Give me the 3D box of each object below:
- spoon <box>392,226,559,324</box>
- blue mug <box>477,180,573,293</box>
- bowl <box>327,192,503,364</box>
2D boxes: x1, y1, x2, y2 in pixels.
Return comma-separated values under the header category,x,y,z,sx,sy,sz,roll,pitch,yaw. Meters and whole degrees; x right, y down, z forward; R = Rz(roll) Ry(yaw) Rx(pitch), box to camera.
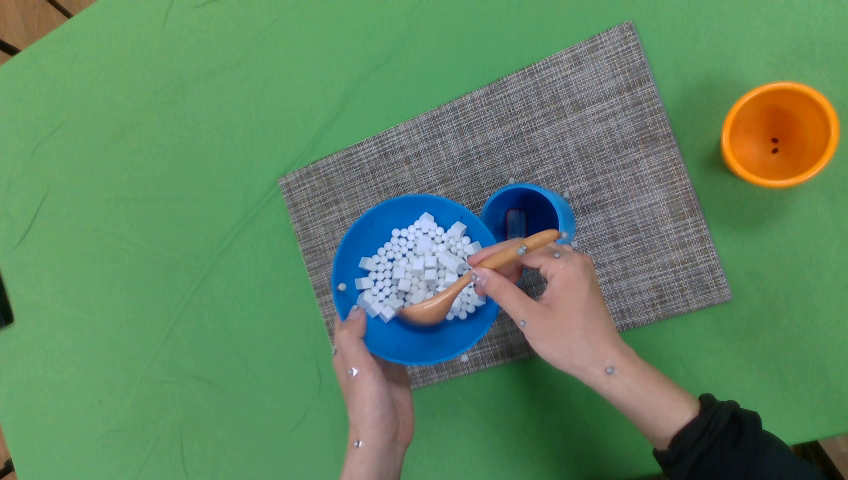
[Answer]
category,x,y,z,sx,sy,sz,roll,pitch,yaw
spoon,0.035,0.031,0.488,0.194,0.042,0.021,-40,40,43
blue mug,0.100,-0.001,0.617,0.082,0.106,0.116,20,99,17
bowl,-0.007,0.039,0.552,0.151,0.077,0.150,0,77,0
